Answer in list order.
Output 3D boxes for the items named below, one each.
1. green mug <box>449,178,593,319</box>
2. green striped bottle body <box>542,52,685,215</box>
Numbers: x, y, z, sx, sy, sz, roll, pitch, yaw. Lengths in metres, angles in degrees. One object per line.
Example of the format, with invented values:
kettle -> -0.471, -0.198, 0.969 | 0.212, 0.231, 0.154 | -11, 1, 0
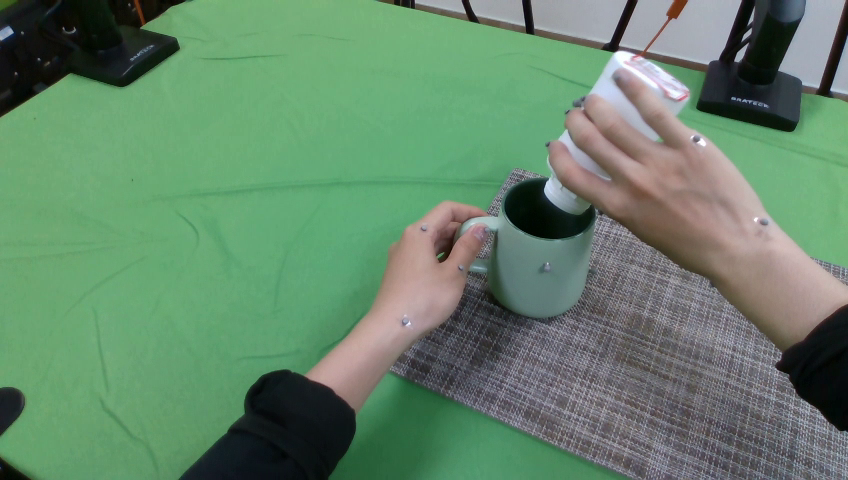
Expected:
green mug -> 0.085, 0.009, 0.542 | 0.125, 0.106, 0.091 | -1, 47, 1
green striped bottle body -> 0.138, -0.076, 0.467 | 0.063, 0.120, 0.062 | 20, 34, -14
